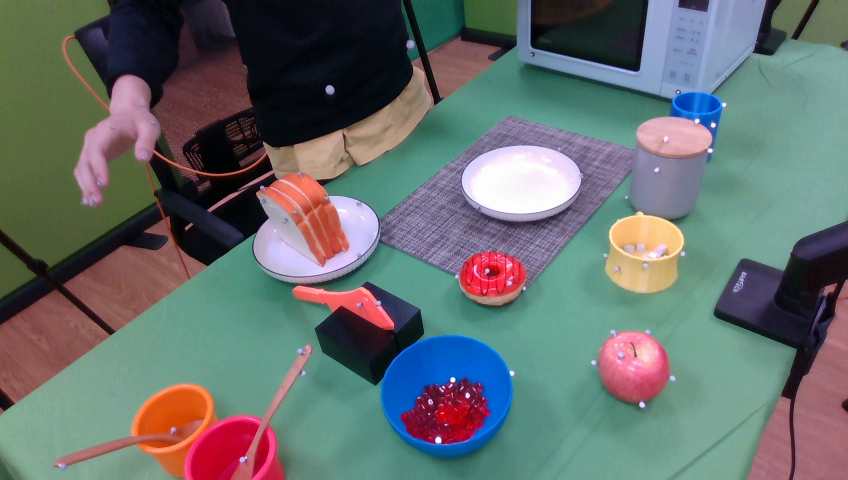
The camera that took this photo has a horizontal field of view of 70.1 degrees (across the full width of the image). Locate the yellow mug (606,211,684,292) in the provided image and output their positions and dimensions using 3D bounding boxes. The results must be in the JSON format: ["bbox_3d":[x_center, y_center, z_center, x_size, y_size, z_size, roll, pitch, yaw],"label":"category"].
[{"bbox_3d":[0.318,0.008,0.883,0.100,0.064,0.130,0,40,9],"label":"yellow mug"}]

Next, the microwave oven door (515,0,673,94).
[{"bbox_3d":[0.344,-0.458,1.256,0.353,0.245,0.039,26,51,33],"label":"microwave oven door"}]

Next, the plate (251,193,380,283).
[{"bbox_3d":[-0.173,-0.001,0.985,0.209,0.038,0.208,-4,41,4],"label":"plate"}]

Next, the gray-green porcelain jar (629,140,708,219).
[{"bbox_3d":[0.383,-0.105,0.958,0.106,0.127,0.105,-4,41,4],"label":"gray-green porcelain jar"}]

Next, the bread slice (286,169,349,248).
[{"bbox_3d":[-0.170,-0.053,0.960,0.104,0.132,0.019,30,61,36],"label":"bread slice"}]

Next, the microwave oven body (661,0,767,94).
[{"bbox_3d":[0.473,-0.516,1.313,0.438,0.261,0.327,26,51,34],"label":"microwave oven body"}]

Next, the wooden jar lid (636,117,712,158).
[{"bbox_3d":[0.377,-0.151,0.917,0.108,0.021,0.108,-2,42,3],"label":"wooden jar lid"}]

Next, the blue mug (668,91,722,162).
[{"bbox_3d":[0.475,-0.207,1.079,0.082,0.106,0.116,4,42,13],"label":"blue mug"}]

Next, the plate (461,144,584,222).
[{"bbox_3d":[0.168,-0.095,1.040,0.207,0.039,0.206,-4,41,4],"label":"plate"}]

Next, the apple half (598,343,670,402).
[{"bbox_3d":[0.247,0.161,0.710,0.081,0.075,0.053,2,47,5],"label":"apple half"}]

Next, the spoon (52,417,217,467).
[{"bbox_3d":[-0.308,0.219,0.663,0.041,0.195,0.021,23,94,29],"label":"spoon"}]

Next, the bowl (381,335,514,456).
[{"bbox_3d":[0.029,0.192,0.701,0.151,0.077,0.150,-4,40,4],"label":"bowl"}]

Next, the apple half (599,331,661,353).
[{"bbox_3d":[0.249,0.134,0.738,0.081,0.081,0.032,-1,46,7],"label":"apple half"}]

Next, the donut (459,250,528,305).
[{"bbox_3d":[0.100,0.053,0.872,0.099,0.048,0.098,-5,41,5],"label":"donut"}]

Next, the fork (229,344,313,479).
[{"bbox_3d":[-0.173,0.205,0.662,0.028,0.019,0.207,29,94,36],"label":"fork"}]

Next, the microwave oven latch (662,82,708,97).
[{"bbox_3d":[0.517,-0.298,1.202,0.078,0.029,0.030,27,52,34],"label":"microwave oven latch"}]

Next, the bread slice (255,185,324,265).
[{"bbox_3d":[-0.211,-0.027,0.936,0.106,0.135,0.018,27,62,35],"label":"bread slice"}]

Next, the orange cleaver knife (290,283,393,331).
[{"bbox_3d":[-0.118,0.091,0.835,0.209,0.077,0.012,1,34,48],"label":"orange cleaver knife"}]
